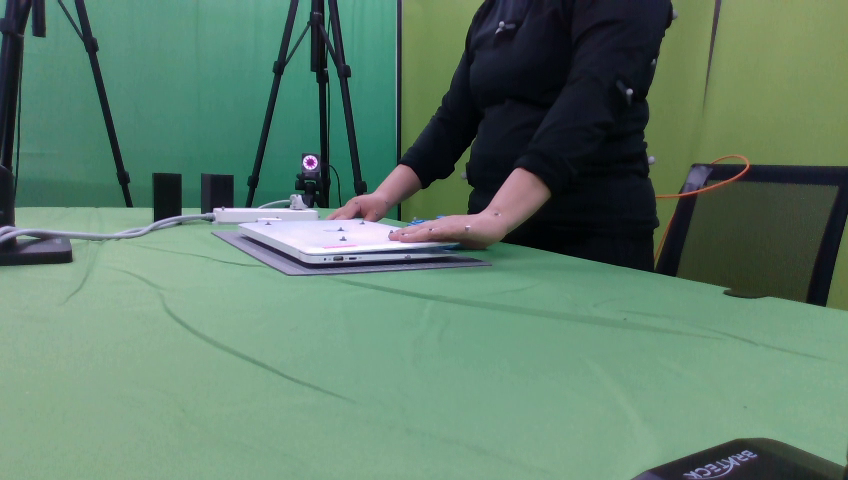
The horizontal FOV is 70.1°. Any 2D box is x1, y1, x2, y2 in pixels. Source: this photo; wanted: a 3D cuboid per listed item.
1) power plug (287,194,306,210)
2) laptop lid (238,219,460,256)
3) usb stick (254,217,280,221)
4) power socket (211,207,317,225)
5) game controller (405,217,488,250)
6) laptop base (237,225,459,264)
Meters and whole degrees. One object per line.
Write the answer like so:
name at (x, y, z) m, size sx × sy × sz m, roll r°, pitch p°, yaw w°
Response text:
power plug at (-0.283, -0.075, 1.342) m, size 0.035 × 0.052 × 0.072 m, roll 0°, pitch 3°, yaw -18°
laptop lid at (-0.133, -0.011, 0.950) m, size 0.243 × 0.013 × 0.355 m, roll -3°, pitch 9°, yaw -29°
usb stick at (-0.296, -0.028, 1.113) m, size 0.059 × 0.027 × 0.021 m, roll -4°, pitch 13°, yaw -30°
power socket at (-0.334, -0.051, 1.281) m, size 0.228 × 0.032 × 0.072 m, roll -1°, pitch 9°, yaw -29°
game controller at (0.034, -0.013, 1.067) m, size 0.097 × 0.051 × 0.154 m, roll -6°, pitch 10°, yaw -29°
laptop base at (-0.136, 0.006, 0.951) m, size 0.237 × 0.023 × 0.352 m, roll 2°, pitch 6°, yaw -32°
